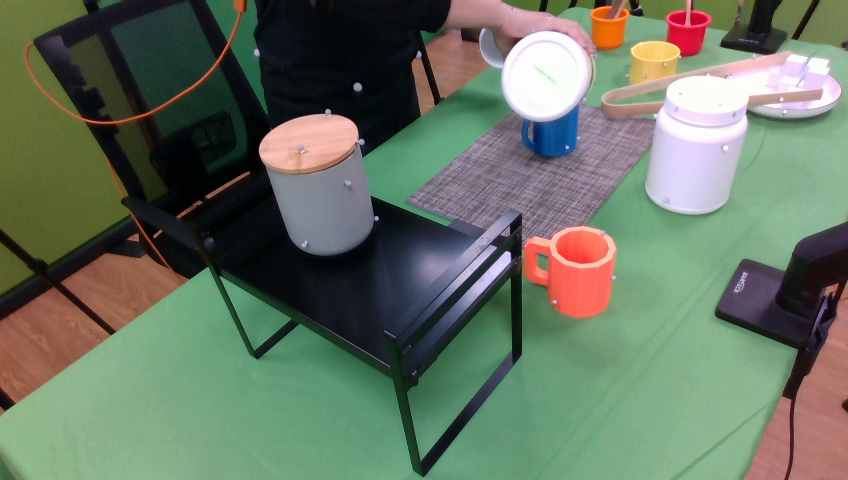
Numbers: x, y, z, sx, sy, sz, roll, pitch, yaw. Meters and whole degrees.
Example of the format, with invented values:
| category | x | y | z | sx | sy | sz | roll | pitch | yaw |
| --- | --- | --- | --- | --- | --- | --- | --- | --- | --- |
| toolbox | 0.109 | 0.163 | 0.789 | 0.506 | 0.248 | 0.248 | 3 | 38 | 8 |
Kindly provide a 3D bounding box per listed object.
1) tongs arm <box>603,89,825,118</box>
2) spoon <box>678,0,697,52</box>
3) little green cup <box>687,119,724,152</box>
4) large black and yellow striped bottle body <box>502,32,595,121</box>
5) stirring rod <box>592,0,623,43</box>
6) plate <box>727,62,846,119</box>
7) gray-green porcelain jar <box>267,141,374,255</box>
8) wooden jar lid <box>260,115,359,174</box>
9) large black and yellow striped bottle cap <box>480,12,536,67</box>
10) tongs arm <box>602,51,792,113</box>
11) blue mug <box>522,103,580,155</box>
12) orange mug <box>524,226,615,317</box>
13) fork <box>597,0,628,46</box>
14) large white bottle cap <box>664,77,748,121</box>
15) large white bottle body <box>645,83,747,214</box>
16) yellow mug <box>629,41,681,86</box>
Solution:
| category | x | y | z | sx | sy | sz | roll | pitch | yaw |
| --- | --- | --- | --- | --- | --- | --- | --- | --- | --- |
| tongs arm | 0.546 | -0.262 | 1.163 | 0.386 | 0.028 | 0.028 | -1 | 49 | 18 |
| spoon | 0.614 | -0.526 | 1.402 | 0.041 | 0.022 | 0.193 | 3 | 86 | 11 |
| little green cup | 0.513 | -0.191 | 1.109 | 0.061 | 0.039 | 0.061 | -5 | 40 | 4 |
| large black and yellow striped bottle body | 0.208 | -0.270 | 0.984 | 0.130 | 0.131 | 0.184 | 8 | 20 | 18 |
| stirring rod | 0.460 | -0.557 | 1.461 | 0.014 | 0.176 | 0.006 | 35 | 11 | 22 |
| plate | 0.709 | -0.292 | 1.197 | 0.207 | 0.039 | 0.206 | -4 | 40 | 4 |
| gray-green porcelain jar | -0.117 | -0.054 | 0.703 | 0.106 | 0.127 | 0.105 | -4 | 40 | 4 |
| wooden jar lid | -0.124 | -0.101 | 0.662 | 0.108 | 0.021 | 0.108 | -4 | 41 | 4 |
| large black and yellow striped bottle cap | 0.172 | -0.407 | 1.230 | 0.115 | 0.115 | 0.018 | -8 | 49 | 0 |
| tongs arm | 0.552 | -0.320 | 1.224 | 0.384 | 0.027 | 0.050 | -10 | 43 | 7 |
| blue mug | 0.233 | -0.219 | 1.127 | 0.117 | 0.106 | 0.081 | -22 | 43 | -16 |
| orange mug | 0.201 | 0.039 | 0.845 | 0.125 | 0.101 | 0.083 | 18 | 47 | 21 |
| fork | 0.479 | -0.558 | 1.455 | 0.028 | 0.019 | 0.207 | 35 | 100 | 38 |
| large white bottle cap | 0.421 | -0.212 | 0.905 | 0.115 | 0.018 | 0.114 | -4 | 40 | 4 |
| large white bottle body | 0.430 | -0.148 | 0.959 | 0.130 | 0.185 | 0.130 | -4 | 41 | 4 |
| yellow mug | 0.495 | -0.389 | 1.321 | 0.100 | 0.064 | 0.130 | -14 | 40 | -6 |
